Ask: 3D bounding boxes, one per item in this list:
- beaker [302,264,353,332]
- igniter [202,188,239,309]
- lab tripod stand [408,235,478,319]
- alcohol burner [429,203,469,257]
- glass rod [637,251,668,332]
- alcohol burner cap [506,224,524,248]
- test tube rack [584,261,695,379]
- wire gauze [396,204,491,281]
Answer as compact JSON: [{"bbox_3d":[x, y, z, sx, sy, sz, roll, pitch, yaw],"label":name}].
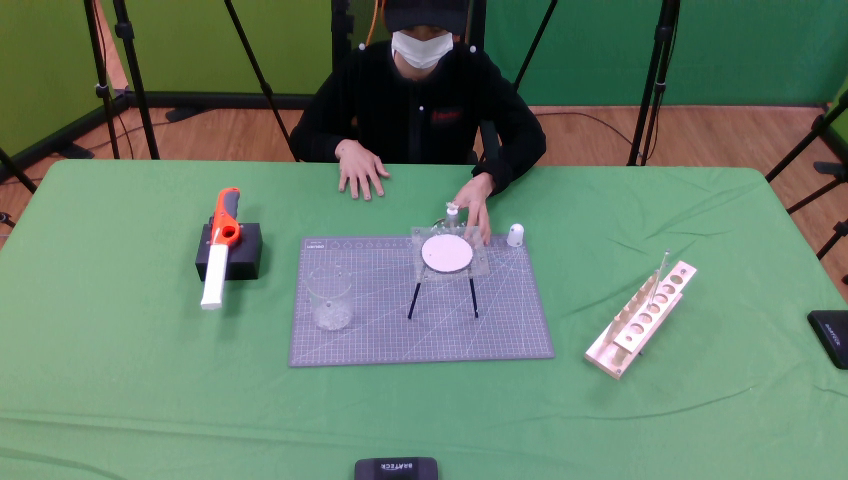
[{"bbox_3d":[-0.162,0.101,1.030,0.084,0.101,0.073,4,46,0],"label":"beaker"},{"bbox_3d":[-0.366,0.006,1.095,0.057,0.025,0.274,-2,49,-7],"label":"igniter"},{"bbox_3d":[0.032,0.065,1.057,0.148,0.132,0.147,1,45,-1],"label":"lab tripod stand"},{"bbox_3d":[0.049,-0.024,1.158,0.078,0.120,0.077,1,47,-1],"label":"alcohol burner"},{"bbox_3d":[0.378,0.090,1.005,0.008,0.201,0.008,-1,44,1],"label":"glass rod"},{"bbox_3d":[0.183,-0.010,1.206,0.034,0.048,0.033,1,46,-1],"label":"alcohol burner cap"},{"bbox_3d":[0.380,0.127,1.062,0.066,0.085,0.242,34,53,26],"label":"test tube rack"},{"bbox_3d":[0.032,0.004,0.999,0.125,0.011,0.120,-22,54,-14],"label":"wire gauze"}]
